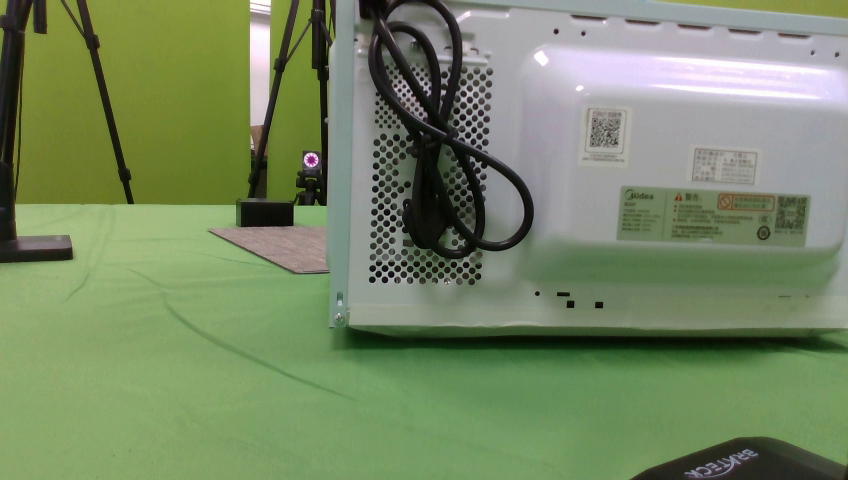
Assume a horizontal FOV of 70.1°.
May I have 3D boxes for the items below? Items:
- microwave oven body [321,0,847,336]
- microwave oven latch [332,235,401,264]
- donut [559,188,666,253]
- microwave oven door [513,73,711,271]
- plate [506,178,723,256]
[{"bbox_3d":[0.133,-0.062,0.568,0.443,0.260,0.325,2,6,-8],"label":"microwave oven body"},{"bbox_3d":[-0.066,0.010,0.700,0.079,0.029,0.030,2,6,-7],"label":"microwave oven latch"},{"bbox_3d":[0.176,-0.018,0.568,0.099,0.048,0.099,-17,3,1],"label":"donut"},{"bbox_3d":[0.250,-0.103,0.889,0.039,0.243,0.354,-2,8,-27],"label":"microwave oven door"},{"bbox_3d":[0.184,-0.024,0.609,0.209,0.038,0.209,6,16,-1],"label":"plate"}]
